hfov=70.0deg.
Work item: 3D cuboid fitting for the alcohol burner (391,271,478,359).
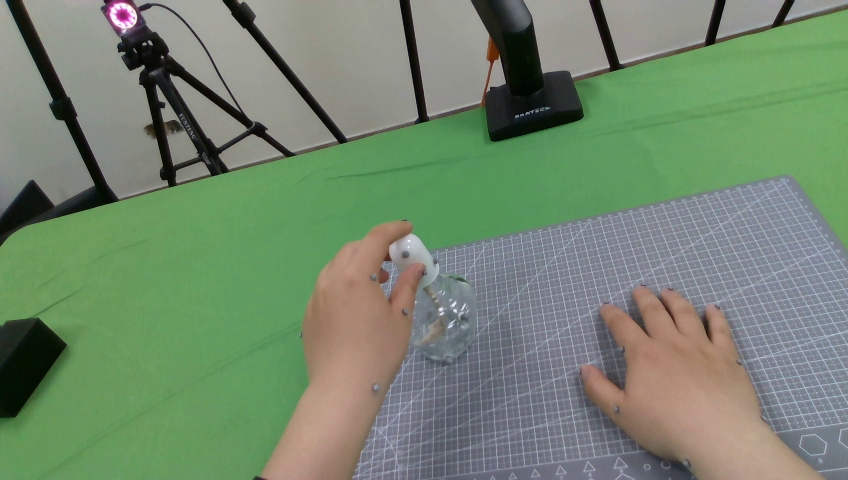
[{"bbox_3d":[0.005,0.047,0.516,0.078,0.120,0.077,-11,41,10],"label":"alcohol burner"}]

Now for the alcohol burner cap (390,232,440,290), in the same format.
[{"bbox_3d":[-0.009,0.014,0.486,0.034,0.048,0.033,-13,46,15],"label":"alcohol burner cap"}]
